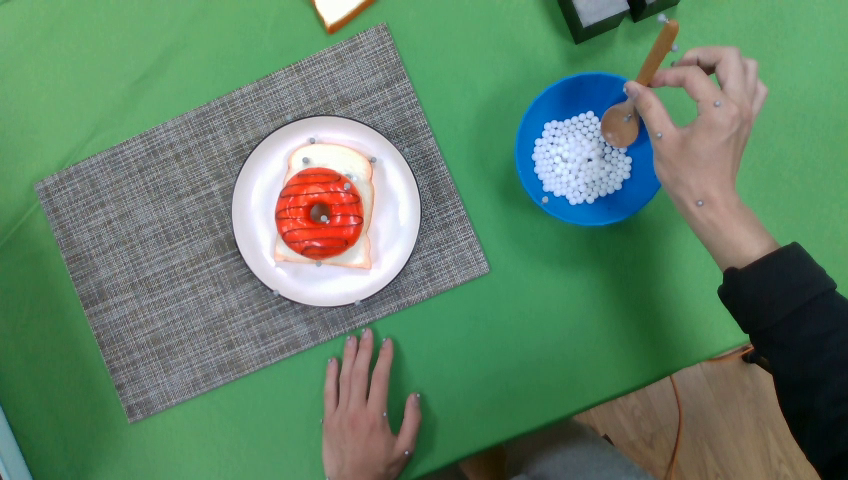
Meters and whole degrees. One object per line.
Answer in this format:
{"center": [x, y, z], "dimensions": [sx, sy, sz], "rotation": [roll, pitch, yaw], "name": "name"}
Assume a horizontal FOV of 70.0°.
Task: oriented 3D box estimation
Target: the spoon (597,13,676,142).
{"center": [0.186, -0.136, 0.535], "dimensions": [0.021, 0.194, 0.041], "rotation": [-43, 77, -5], "name": "spoon"}

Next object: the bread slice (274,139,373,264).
{"center": [-0.109, -0.042, 0.663], "dimensions": [0.107, 0.018, 0.134], "rotation": [2, 91, 4], "name": "bread slice"}

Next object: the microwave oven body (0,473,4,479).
{"center": [-0.661, 0.208, 0.595], "dimensions": [0.326, 0.260, 0.441], "rotation": [-25, 89, 3], "name": "microwave oven body"}

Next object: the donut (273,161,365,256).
{"center": [-0.110, -0.033, 0.634], "dimensions": [0.099, 0.048, 0.099], "rotation": [0, 91, 5], "name": "donut"}

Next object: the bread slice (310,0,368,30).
{"center": [-0.106, -0.316, 0.673], "dimensions": [0.105, 0.019, 0.131], "rotation": [-37, 89, 3], "name": "bread slice"}

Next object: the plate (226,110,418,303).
{"center": [-0.109, -0.035, 0.662], "dimensions": [0.207, 0.039, 0.207], "rotation": [0, 91, 4], "name": "plate"}

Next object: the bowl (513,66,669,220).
{"center": [0.164, -0.094, 0.625], "dimensions": [0.151, 0.077, 0.151], "rotation": [0, 90, 4], "name": "bowl"}

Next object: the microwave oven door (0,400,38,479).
{"center": [-0.512, 0.184, 0.578], "dimensions": [0.039, 0.244, 0.355], "rotation": [-26, 88, 4], "name": "microwave oven door"}
